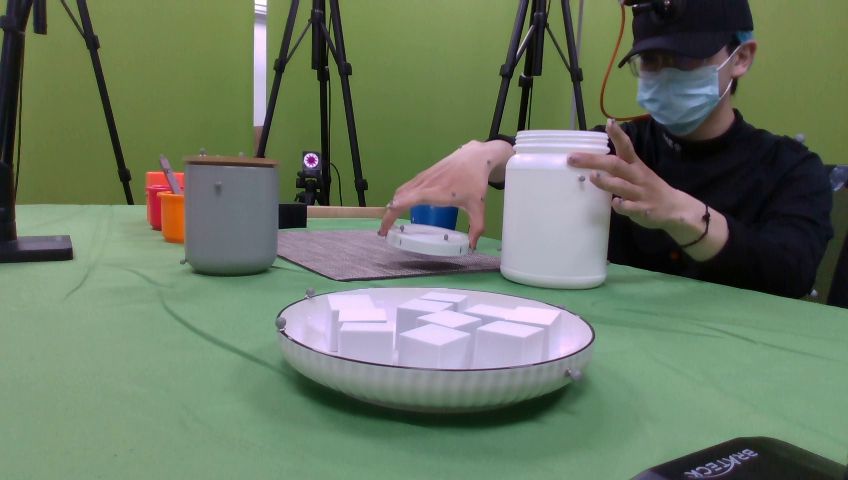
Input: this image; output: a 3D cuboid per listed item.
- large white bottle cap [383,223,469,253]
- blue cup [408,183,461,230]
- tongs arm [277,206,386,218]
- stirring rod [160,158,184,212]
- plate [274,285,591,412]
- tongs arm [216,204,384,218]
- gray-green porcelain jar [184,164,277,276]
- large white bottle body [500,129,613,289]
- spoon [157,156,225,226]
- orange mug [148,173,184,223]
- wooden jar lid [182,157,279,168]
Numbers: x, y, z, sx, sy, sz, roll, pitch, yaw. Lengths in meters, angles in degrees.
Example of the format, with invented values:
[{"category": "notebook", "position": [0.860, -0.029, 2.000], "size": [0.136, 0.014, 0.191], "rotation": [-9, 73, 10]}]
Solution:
[{"category": "large white bottle cap", "position": [0.003, -0.003, 0.805], "size": [0.115, 0.018, 0.115], "rotation": [8, 11, -1]}, {"category": "blue cup", "position": [0.015, -0.039, 0.970], "size": [0.093, 0.100, 0.092], "rotation": [2, 9, 0]}, {"category": "tongs arm", "position": [-0.251, -0.063, 1.360], "size": [0.387, 0.026, 0.050], "rotation": [-1, 3, -31]}, {"category": "stirring rod", "position": [-0.391, -0.070, 0.972], "size": [0.014, 0.006, 0.175], "rotation": [-1, 50, -49]}, {"category": "plate", "position": [0.005, 0.069, 0.408], "size": [0.208, 0.039, 0.207], "rotation": [2, 7, 0]}, {"category": "tongs arm", "position": [-0.288, -0.069, 1.435], "size": [0.389, 0.027, 0.028], "rotation": [0, -1, -17]}, {"category": "gray-green porcelain jar", "position": [-0.230, -0.025, 0.722], "size": [0.106, 0.126, 0.106], "rotation": [3, 7, 0]}, {"category": "large white bottle body", "position": [0.162, -0.041, 0.744], "size": [0.131, 0.184, 0.130], "rotation": [2, 7, 0]}, {"category": "spoon", "position": [-0.425, -0.094, 1.117], "size": [0.041, 0.022, 0.194], "rotation": [5, 51, 29]}, {"category": "orange mug", "position": [-0.490, -0.087, 1.222], "size": [0.127, 0.101, 0.083], "rotation": [-9, 13, -38]}, {"category": "wooden jar lid", "position": [-0.227, -0.086, 0.714], "size": [0.108, 0.020, 0.108], "rotation": [1, 6, 0]}]
